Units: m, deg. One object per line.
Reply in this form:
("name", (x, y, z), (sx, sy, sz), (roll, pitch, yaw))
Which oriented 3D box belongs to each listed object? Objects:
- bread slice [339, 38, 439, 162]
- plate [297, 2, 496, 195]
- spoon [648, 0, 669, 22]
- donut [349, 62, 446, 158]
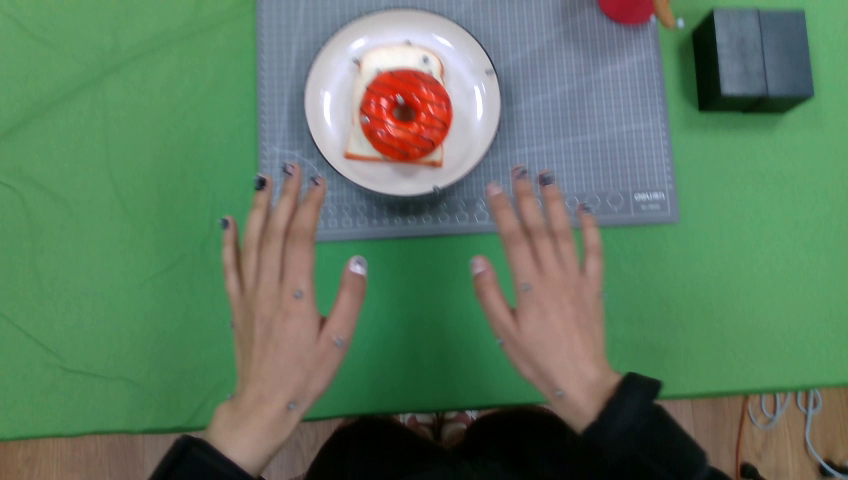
("bread slice", (-0.035, -0.152, 0.646), (0.105, 0.019, 0.131), (3, 83, -3))
("plate", (-0.028, -0.147, 0.644), (0.209, 0.038, 0.208), (0, 83, -3))
("spoon", (0.224, -0.262, 0.615), (0.041, 0.022, 0.192), (6, 38, 4))
("donut", (-0.026, -0.131, 0.615), (0.099, 0.048, 0.099), (0, 86, -5))
